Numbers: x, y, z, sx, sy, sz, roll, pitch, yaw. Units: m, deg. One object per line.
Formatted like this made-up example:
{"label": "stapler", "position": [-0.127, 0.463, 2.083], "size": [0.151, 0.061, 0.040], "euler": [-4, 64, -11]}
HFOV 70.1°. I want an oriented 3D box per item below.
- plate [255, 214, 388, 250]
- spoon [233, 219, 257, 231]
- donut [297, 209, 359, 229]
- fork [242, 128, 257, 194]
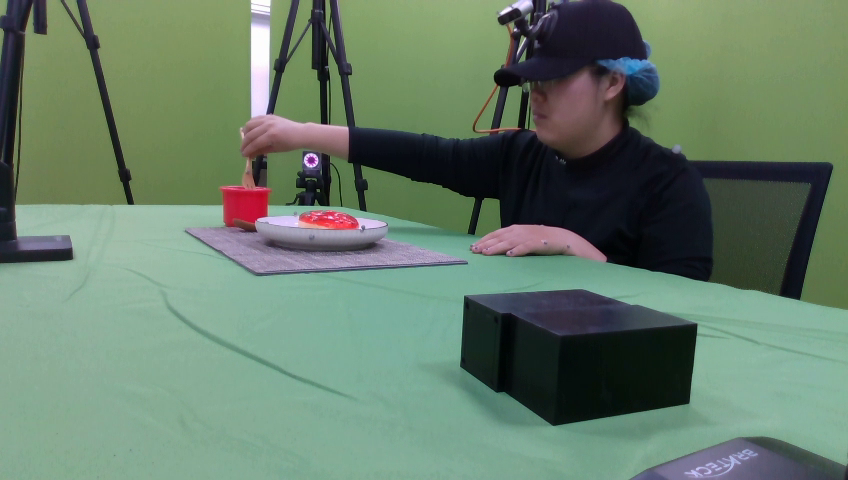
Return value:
{"label": "plate", "position": [-0.161, -0.013, 0.961], "size": [0.209, 0.038, 0.209], "euler": [2, 7, 0]}
{"label": "spoon", "position": [-0.250, -0.028, 1.108], "size": [0.195, 0.021, 0.041], "euler": [-2, -10, -29]}
{"label": "donut", "position": [-0.151, -0.023, 0.955], "size": [0.099, 0.048, 0.099], "euler": [6, 7, 0]}
{"label": "fork", "position": [-0.354, -0.162, 1.216], "size": [0.028, 0.018, 0.206], "euler": [22, 38, -38]}
